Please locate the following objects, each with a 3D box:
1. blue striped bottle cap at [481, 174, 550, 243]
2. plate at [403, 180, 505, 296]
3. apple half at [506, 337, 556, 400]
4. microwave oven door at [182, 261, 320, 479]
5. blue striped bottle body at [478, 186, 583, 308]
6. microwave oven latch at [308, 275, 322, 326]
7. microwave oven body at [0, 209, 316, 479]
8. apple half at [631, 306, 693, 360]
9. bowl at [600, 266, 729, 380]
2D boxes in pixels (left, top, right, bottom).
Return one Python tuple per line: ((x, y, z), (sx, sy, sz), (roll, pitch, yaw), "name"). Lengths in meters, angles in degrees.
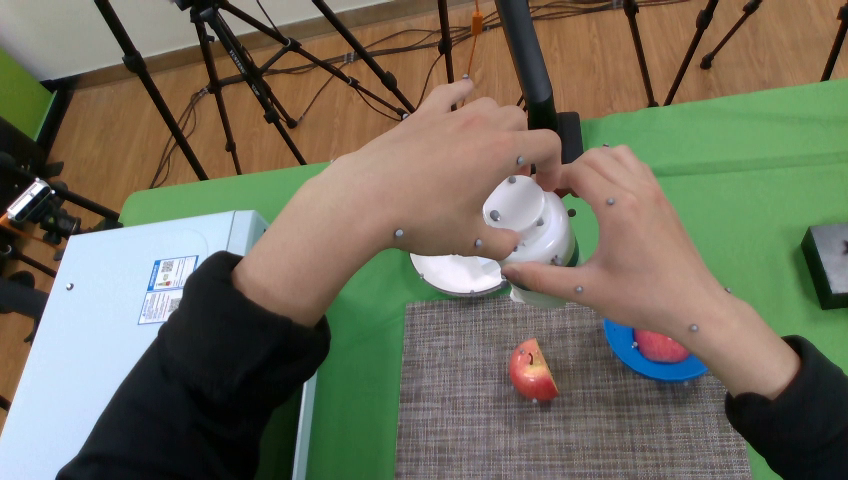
((0.061, -0.022, 0.409), (0.044, 0.021, 0.044), (-11, 64, 24), "blue striped bottle cap")
((0.070, -0.001, 0.968), (0.207, 0.039, 0.206), (-8, 59, 14), "plate")
((0.139, 0.179, 0.815), (0.053, 0.075, 0.080), (-25, 60, 8), "apple half")
((-0.214, 0.237, 0.779), (0.039, 0.246, 0.352), (-8, 59, 14), "microwave oven door")
((0.080, 0.002, 0.454), (0.063, 0.122, 0.062), (-10, 61, 18), "blue striped bottle body")
((-0.180, 0.098, 0.971), (0.030, 0.030, 0.078), (-9, 60, 13), "microwave oven latch")
((-0.353, 0.222, 0.839), (0.325, 0.263, 0.437), (-7, 60, 13), "microwave oven body")
((0.309, 0.116, 0.786), (0.081, 0.033, 0.080), (-9, 57, 14), "apple half")
((0.309, 0.118, 0.791), (0.151, 0.077, 0.150), (-8, 59, 14), "bowl")
